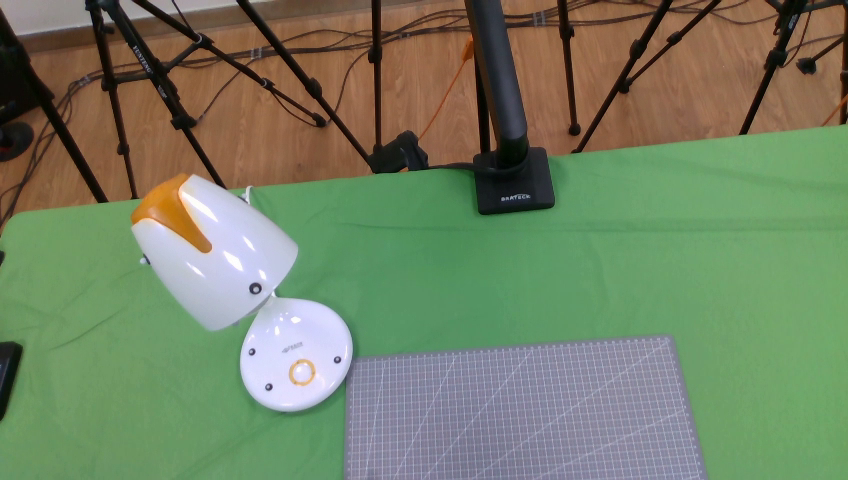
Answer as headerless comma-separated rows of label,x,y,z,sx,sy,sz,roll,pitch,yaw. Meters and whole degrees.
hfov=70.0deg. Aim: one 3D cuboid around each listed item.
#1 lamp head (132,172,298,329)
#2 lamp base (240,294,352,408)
lamp head,-0.192,-0.001,0.537,0.112,0.124,0.111,-34,22,16
lamp base,-0.198,0.113,0.798,0.160,0.182,0.177,-32,59,-10
